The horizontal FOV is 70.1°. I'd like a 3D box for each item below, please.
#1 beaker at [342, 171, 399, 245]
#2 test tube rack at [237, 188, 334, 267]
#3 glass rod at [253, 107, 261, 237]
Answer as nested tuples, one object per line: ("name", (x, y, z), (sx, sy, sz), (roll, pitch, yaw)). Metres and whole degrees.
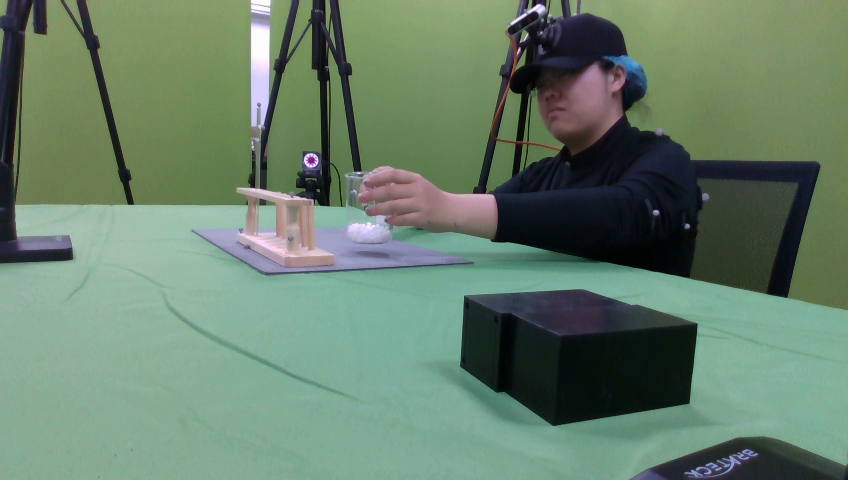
("beaker", (-0.077, -0.047, 0.882), (0.084, 0.100, 0.074), (5, 14, 15))
("test tube rack", (-0.202, -0.024, 0.855), (0.067, 0.085, 0.241), (-2, 8, -30))
("glass rod", (-0.251, -0.101, 0.912), (0.008, 0.199, 0.008), (3, 3, 0))
